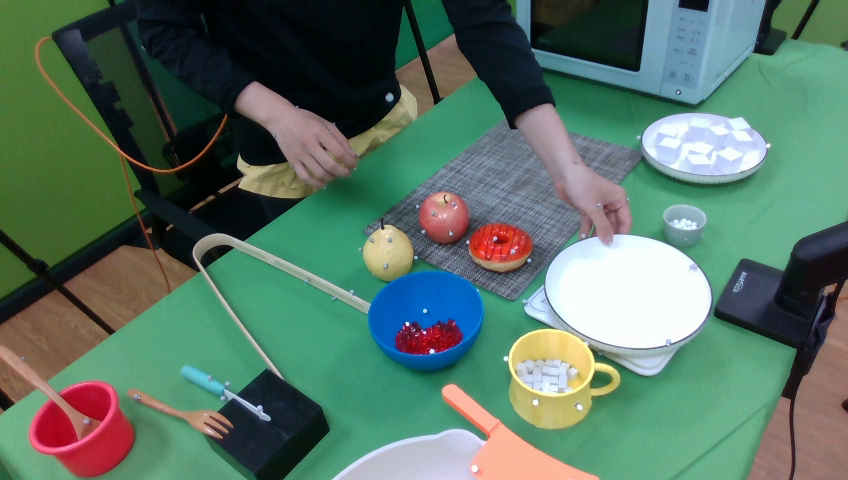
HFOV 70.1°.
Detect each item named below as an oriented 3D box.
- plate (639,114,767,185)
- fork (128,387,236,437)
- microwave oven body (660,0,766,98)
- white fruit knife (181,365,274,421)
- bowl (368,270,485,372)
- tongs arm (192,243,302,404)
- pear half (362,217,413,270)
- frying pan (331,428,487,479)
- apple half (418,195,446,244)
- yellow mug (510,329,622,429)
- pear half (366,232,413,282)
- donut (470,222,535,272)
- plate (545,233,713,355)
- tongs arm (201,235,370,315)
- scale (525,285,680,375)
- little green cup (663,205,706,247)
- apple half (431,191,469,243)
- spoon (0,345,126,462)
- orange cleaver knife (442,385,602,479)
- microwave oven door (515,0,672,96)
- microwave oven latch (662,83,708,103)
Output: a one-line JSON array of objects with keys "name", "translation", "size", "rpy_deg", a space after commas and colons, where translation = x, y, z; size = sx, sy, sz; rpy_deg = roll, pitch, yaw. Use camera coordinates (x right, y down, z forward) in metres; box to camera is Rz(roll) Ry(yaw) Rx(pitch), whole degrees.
[{"name": "plate", "translation": [0.489, -0.157, 1.074], "size": [0.207, 0.039, 0.206], "rpy_deg": [-4, 40, 4]}, {"name": "fork", "translation": [-0.305, 0.208, 0.744], "size": [0.206, 0.019, 0.028], "rpy_deg": [3, 41, 36]}, {"name": "microwave oven body", "translation": [0.472, -0.513, 1.317], "size": [0.438, 0.261, 0.327], "rpy_deg": [26, 51, 34]}, {"name": "white fruit knife", "translation": [-0.245, 0.188, 0.747], "size": [0.205, 0.027, 0.016], "rpy_deg": [9, 41, 41]}, {"name": "bowl", "translation": [0.007, 0.119, 0.791], "size": [0.151, 0.077, 0.150], "rpy_deg": [-5, 39, 4]}, {"name": "tongs arm", "translation": [-0.268, 0.109, 0.884], "size": [0.028, 0.028, 0.384], "rpy_deg": [-35, 46, -18]}, {"name": "pear half", "translation": [-0.059, 0.002, 0.913], "size": [0.076, 0.110, 0.055], "rpy_deg": [-14, 40, -14]}, {"name": "frying pan", "translation": [-0.089, 0.306, 0.564], "size": [0.487, 0.103, 0.306], "rpy_deg": [10, 41, 7]}, {"name": "apple half", "translation": [0.008, -0.027, 0.959], "size": [0.033, 0.081, 0.080], "rpy_deg": [-14, 41, -12]}, {"name": "yellow mug", "translation": [0.168, 0.164, 0.721], "size": [0.130, 0.064, 0.099], "rpy_deg": [0, 40, 8]}, {"name": "pear half", "translation": [-0.048, 0.031, 0.893], "size": [0.071, 0.088, 0.031], "rpy_deg": [-16, 40, -13]}, {"name": "donut", "translation": [0.119, 0.009, 0.923], "size": [0.099, 0.048, 0.098], "rpy_deg": [-3, 38, 3]}, {"name": "plate", "translation": [0.263, 0.071, 0.791], "size": [0.209, 0.038, 0.208], "rpy_deg": [-4, 41, 4]}, {"name": "tongs arm", "translation": [-0.209, 0.062, 0.924], "size": [0.381, 0.026, 0.051], "rpy_deg": [23, 53, 32]}, {"name": "scale", "translation": [0.254, 0.091, 0.821], "size": [0.199, 0.032, 0.149], "rpy_deg": [27, 51, 35]}, {"name": "little green cup", "translation": [0.396, -0.020, 0.926], "size": [0.061, 0.039, 0.061], "rpy_deg": [-4, 40, 4]}, {"name": "apple half", "translation": [0.045, -0.038, 0.968], "size": [0.053, 0.075, 0.080], "rpy_deg": [-14, 37, -11]}, {"name": "spoon", "translation": [-0.434, 0.192, 0.720], "size": [0.194, 0.021, 0.042], "rpy_deg": [47, 53, -7]}, {"name": "orange cleaver knife", "translation": [0.086, 0.219, 0.612], "size": [0.209, 0.012, 0.077], "rpy_deg": [28, 48, 35]}, {"name": "microwave oven door", "translation": [0.343, -0.455, 1.259], "size": [0.353, 0.245, 0.039], "rpy_deg": [26, 51, 33]}, {"name": "microwave oven latch", "translation": [0.517, -0.296, 1.204], "size": [0.078, 0.029, 0.030], "rpy_deg": [27, 52, 35]}]
